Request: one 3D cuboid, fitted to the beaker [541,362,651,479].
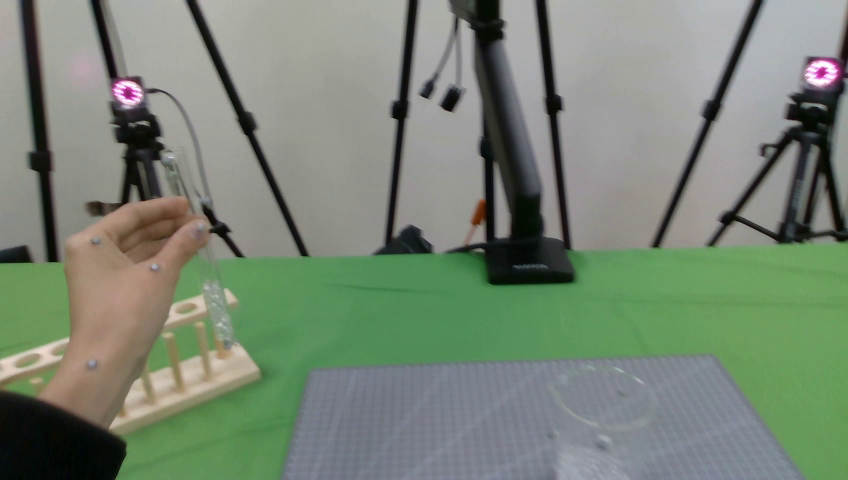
[{"bbox_3d":[0.136,0.162,0.495,0.083,0.101,0.074,8,28,21],"label":"beaker"}]

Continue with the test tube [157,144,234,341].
[{"bbox_3d":[-0.157,0.007,0.424,0.017,0.151,0.017,-5,26,3],"label":"test tube"}]

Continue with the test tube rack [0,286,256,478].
[{"bbox_3d":[-0.302,0.132,0.603,0.243,0.086,0.066,-18,31,-31],"label":"test tube rack"}]
